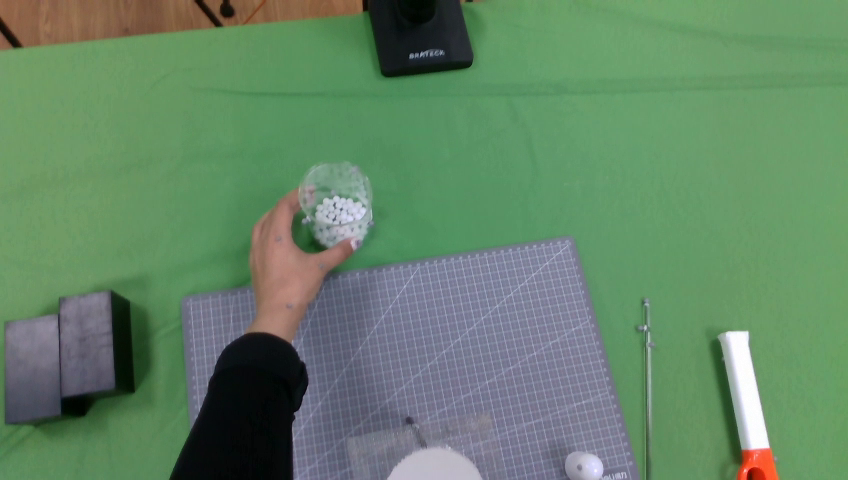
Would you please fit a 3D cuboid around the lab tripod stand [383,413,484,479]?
[{"bbox_3d":[0.001,0.231,0.561,0.148,0.132,0.147,1,71,-3],"label":"lab tripod stand"}]

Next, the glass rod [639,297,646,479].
[{"bbox_3d":[0.244,0.161,0.675,0.008,0.008,0.198,7,73,-3],"label":"glass rod"}]

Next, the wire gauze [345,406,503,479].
[{"bbox_3d":[0.006,0.207,0.498,0.125,0.011,0.120,-9,72,-9],"label":"wire gauze"}]

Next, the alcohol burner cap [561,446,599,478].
[{"bbox_3d":[0.163,0.229,0.625,0.034,0.048,0.033,1,71,-3],"label":"alcohol burner cap"}]

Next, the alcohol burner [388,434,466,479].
[{"bbox_3d":[0.004,0.224,0.574,0.078,0.119,0.077,2,70,-5],"label":"alcohol burner"}]

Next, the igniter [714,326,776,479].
[{"bbox_3d":[0.354,0.231,0.653,0.057,0.025,0.275,2,72,-16],"label":"igniter"}]

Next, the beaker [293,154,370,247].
[{"bbox_3d":[-0.094,-0.037,0.656,0.084,0.100,0.074,35,73,6],"label":"beaker"}]
